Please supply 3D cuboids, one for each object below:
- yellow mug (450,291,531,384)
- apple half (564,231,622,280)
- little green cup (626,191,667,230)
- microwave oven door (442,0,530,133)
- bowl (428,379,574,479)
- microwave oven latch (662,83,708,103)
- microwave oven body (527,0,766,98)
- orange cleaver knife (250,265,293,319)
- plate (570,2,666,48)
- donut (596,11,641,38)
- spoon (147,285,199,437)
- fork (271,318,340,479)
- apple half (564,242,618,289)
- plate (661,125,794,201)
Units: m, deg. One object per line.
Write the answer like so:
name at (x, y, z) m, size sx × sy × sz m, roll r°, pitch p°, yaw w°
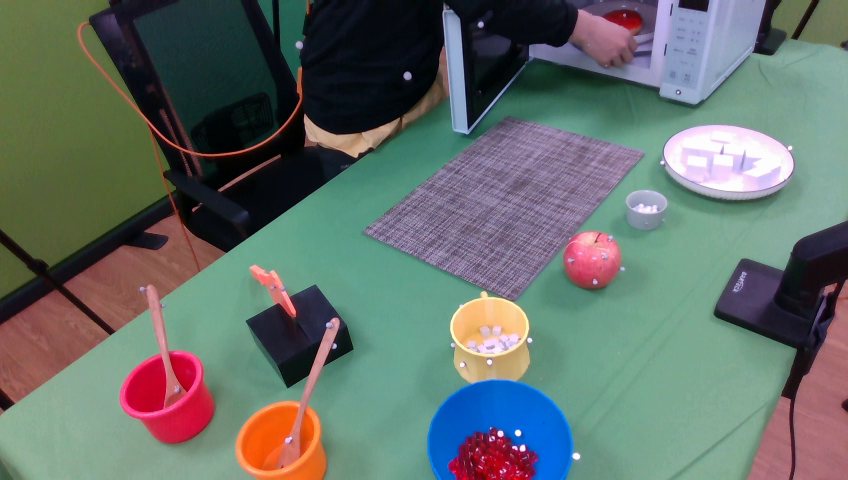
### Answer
yellow mug at (0.085, 0.120, 0.786) m, size 0.100 × 0.064 × 0.130 m, roll -7°, pitch 39°, yaw 1°
apple half at (0.248, 0.021, 0.874) m, size 0.080 × 0.075 × 0.053 m, roll 13°, pitch 40°, yaw 29°
little green cup at (0.352, -0.046, 0.963) m, size 0.061 × 0.039 × 0.061 m, roll -4°, pitch 40°, yaw 4°
microwave oven door at (0.139, -0.413, 1.243) m, size 0.039 × 0.245 × 0.356 m, roll 15°, pitch 45°, yaw 24°
bowl at (0.082, 0.233, 0.644) m, size 0.151 × 0.077 × 0.150 m, roll -4°, pitch 40°, yaw 4°
microwave oven latch at (0.519, -0.297, 1.204) m, size 0.078 × 0.029 × 0.030 m, roll 29°, pitch 53°, yaw 36°
microwave oven body at (0.472, -0.513, 1.317) m, size 0.438 × 0.261 × 0.327 m, roll 25°, pitch 51°, yaw 34°
orange cleaver knife at (-0.221, 0.073, 0.876) m, size 0.012 × 0.077 × 0.210 m, roll -24°, pitch 13°, yaw -22°
plate at (0.437, -0.483, 1.368) m, size 0.209 × 0.038 × 0.208 m, roll -4°, pitch 41°, yaw 4°
donut at (0.433, -0.479, 1.347) m, size 0.099 × 0.048 × 0.098 m, roll -6°, pitch 38°, yaw 5°
spoon at (-0.319, 0.148, 0.754) m, size 0.042 × 0.021 × 0.193 m, roll -14°, pitch 85°, yaw -11°
fork at (-0.132, 0.186, 0.676) m, size 0.028 × 0.019 × 0.207 m, roll 17°, pitch 90°, yaw 28°
apple half at (0.229, 0.044, 0.848) m, size 0.081 × 0.081 × 0.033 m, roll 16°, pitch 41°, yaw 26°
plate at (0.513, -0.128, 1.035) m, size 0.207 × 0.039 × 0.206 m, roll -4°, pitch 40°, yaw 4°
